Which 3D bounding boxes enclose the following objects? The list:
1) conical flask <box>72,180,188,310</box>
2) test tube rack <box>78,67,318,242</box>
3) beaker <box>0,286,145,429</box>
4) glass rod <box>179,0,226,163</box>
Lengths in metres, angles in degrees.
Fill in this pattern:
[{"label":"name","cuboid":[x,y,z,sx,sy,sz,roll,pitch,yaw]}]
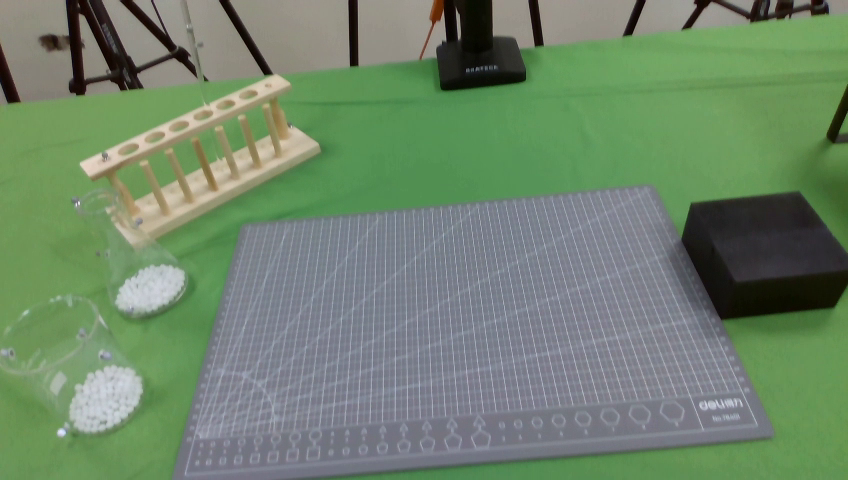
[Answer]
[{"label":"conical flask","cuboid":[-0.278,0.002,0.566,0.075,0.123,0.074,-3,44,4]},{"label":"test tube rack","cuboid":[-0.248,-0.104,0.696,0.242,0.086,0.066,-34,50,-25]},{"label":"beaker","cuboid":[-0.276,0.097,0.486,0.074,0.101,0.083,-8,44,-1]},{"label":"glass rod","cuboid":[-0.245,-0.174,0.672,0.008,0.201,0.008,-1,37,1]}]
